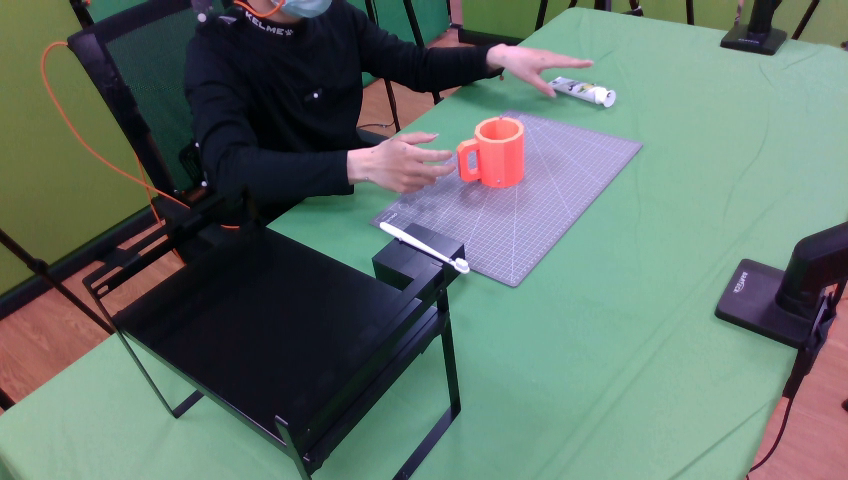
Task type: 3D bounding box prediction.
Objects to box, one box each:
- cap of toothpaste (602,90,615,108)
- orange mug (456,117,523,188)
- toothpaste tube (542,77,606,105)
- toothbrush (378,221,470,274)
[{"bbox_3d":[0.378,-0.291,1.245,0.037,0.037,0.011,-31,41,-25],"label":"cap of toothpaste"},{"bbox_3d":[0.117,-0.152,1.071,0.127,0.101,0.083,-14,41,-14],"label":"orange mug"},{"bbox_3d":[0.333,-0.324,1.300,0.055,0.034,0.163,-27,40,-28],"label":"toothpaste tube"},{"bbox_3d":[-0.004,0.007,0.894,0.180,0.017,0.014,27,55,35],"label":"toothbrush"}]
